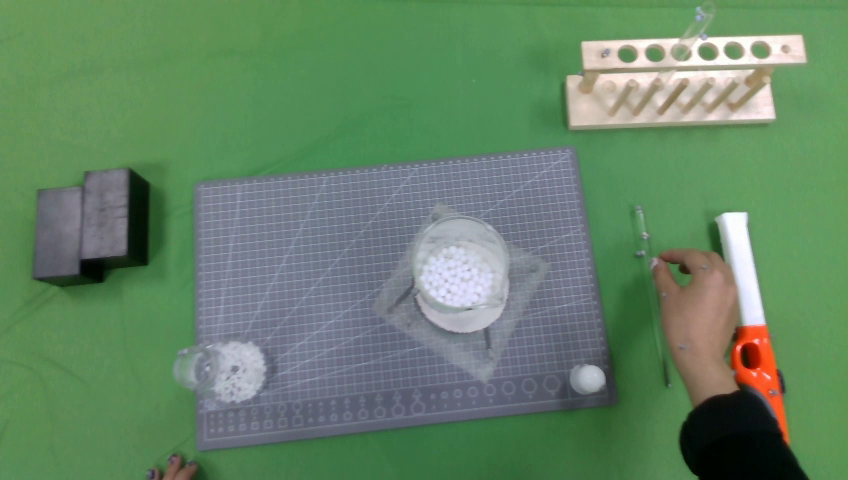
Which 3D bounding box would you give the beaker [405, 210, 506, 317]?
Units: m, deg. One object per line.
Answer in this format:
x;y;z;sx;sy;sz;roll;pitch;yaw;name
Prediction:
0.028;0.026;0.502;0.083;0.100;0.074;43;81;9;beaker

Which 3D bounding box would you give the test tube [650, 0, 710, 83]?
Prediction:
0.271;-0.209;0.650;0.017;0.151;0.017;-1;76;3;test tube

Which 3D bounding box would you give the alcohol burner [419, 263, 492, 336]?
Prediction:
0.032;0.059;0.622;0.078;0.119;0.077;0;78;2;alcohol burner

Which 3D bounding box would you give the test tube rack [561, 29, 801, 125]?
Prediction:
0.289;-0.184;0.695;0.242;0.085;0.066;-2;76;0;test tube rack

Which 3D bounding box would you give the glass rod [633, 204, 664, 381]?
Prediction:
0.252;0.056;0.680;0.008;0.008;0.199;-5;80;-1;glass rod

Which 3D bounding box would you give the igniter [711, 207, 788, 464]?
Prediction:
0.353;0.098;0.660;0.057;0.025;0.275;-2;77;-11;igniter

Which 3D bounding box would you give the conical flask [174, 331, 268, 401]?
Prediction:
-0.206;0.123;0.602;0.075;0.122;0.075;0;77;0;conical flask

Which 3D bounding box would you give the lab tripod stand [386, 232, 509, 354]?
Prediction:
0.030;0.053;0.613;0.148;0.132;0.147;0;78;1;lab tripod stand

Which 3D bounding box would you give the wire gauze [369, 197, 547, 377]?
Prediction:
0.031;0.040;0.548;0.125;0.011;0.121;31;82;5;wire gauze

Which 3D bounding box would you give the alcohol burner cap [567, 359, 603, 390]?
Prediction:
0.172;0.140;0.640;0.034;0.048;0.033;1;74;-3;alcohol burner cap
